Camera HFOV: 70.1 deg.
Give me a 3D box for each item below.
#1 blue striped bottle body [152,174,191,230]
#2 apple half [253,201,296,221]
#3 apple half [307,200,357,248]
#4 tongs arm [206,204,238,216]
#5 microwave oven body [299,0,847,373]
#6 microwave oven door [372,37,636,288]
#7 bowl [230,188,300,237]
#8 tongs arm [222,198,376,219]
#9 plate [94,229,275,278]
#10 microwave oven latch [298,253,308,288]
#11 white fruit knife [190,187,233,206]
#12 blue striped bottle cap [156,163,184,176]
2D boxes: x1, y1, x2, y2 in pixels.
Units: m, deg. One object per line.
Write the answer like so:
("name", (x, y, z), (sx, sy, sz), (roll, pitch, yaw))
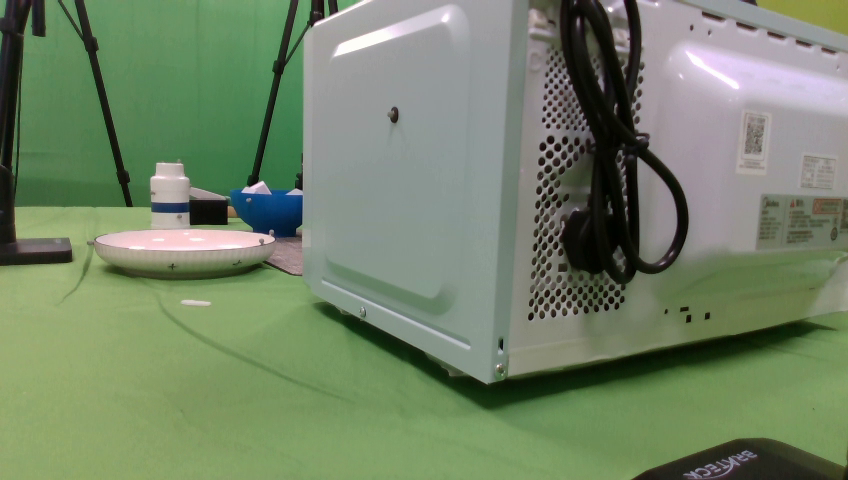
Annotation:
("blue striped bottle body", (-0.439, -0.071, 1.052), (0.063, 0.120, 0.063), (2, 8, 0))
("apple half", (-0.264, -0.052, 1.066), (0.081, 0.033, 0.081), (3, 10, 0))
("apple half", (-0.136, -0.024, 0.942), (0.053, 0.074, 0.081), (15, 10, 38))
("tongs arm", (-0.301, -0.065, 1.407), (0.389, 0.028, 0.028), (1, 4, -15))
("microwave oven body", (0.152, -0.055, 0.542), (0.444, 0.260, 0.324), (-2, 7, -33))
("microwave oven door", (0.110, -0.080, 0.686), (0.358, 0.243, 0.039), (-2, 9, -33))
("bowl", (-0.264, -0.048, 1.066), (0.151, 0.077, 0.151), (2, 8, 0))
("tongs arm", (-0.309, -0.078, 1.487), (0.385, 0.026, 0.050), (3, 7, -2))
("plate", (-0.290, 0.016, 0.749), (0.208, 0.039, 0.207), (2, 7, 0))
("microwave oven latch", (-0.081, 0.028, 0.579), (0.079, 0.029, 0.030), (-1, 7, -27))
("white fruit knife", (-0.413, -0.081, 1.269), (0.208, 0.027, 0.016), (17, 13, -42))
("blue striped bottle cap", (-0.438, -0.122, 1.044), (0.044, 0.020, 0.044), (4, 6, 0))
